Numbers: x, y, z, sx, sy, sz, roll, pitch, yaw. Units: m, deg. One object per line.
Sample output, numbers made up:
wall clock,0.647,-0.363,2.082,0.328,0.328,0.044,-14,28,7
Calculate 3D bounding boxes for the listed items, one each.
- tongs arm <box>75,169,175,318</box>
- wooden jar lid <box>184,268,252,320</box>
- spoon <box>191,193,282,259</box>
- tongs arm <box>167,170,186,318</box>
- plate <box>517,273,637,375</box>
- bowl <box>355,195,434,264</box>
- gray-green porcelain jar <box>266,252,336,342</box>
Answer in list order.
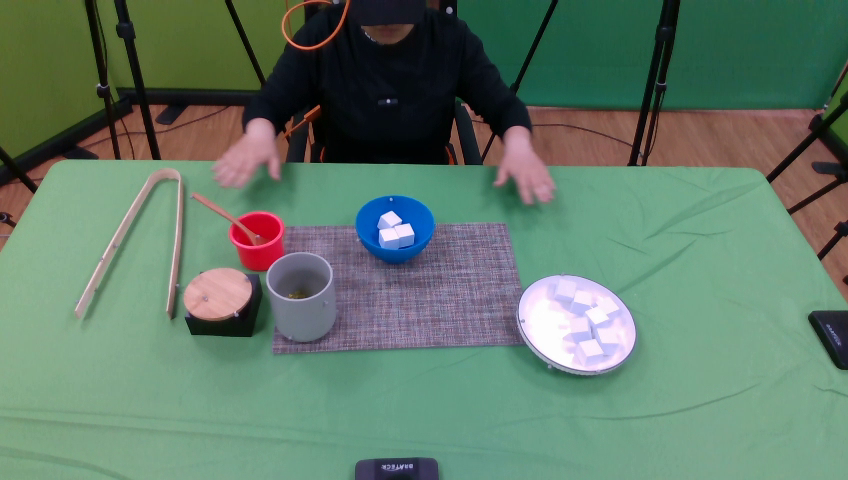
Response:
tongs arm,-0.559,-0.008,1.155,0.051,0.026,0.382,3,45,-2
wooden jar lid,-0.343,0.092,1.015,0.108,0.021,0.107,3,46,-3
spoon,-0.342,-0.027,1.115,0.194,0.021,0.041,43,40,-24
tongs arm,-0.479,-0.007,1.165,0.028,0.028,0.385,-9,47,-9
plate,0.264,0.149,1.060,0.209,0.038,0.208,3,46,-3
bowl,-0.057,-0.008,1.158,0.151,0.077,0.150,2,46,-2
gray-green porcelain jar,-0.202,0.100,1.009,0.106,0.127,0.105,2,46,-2
